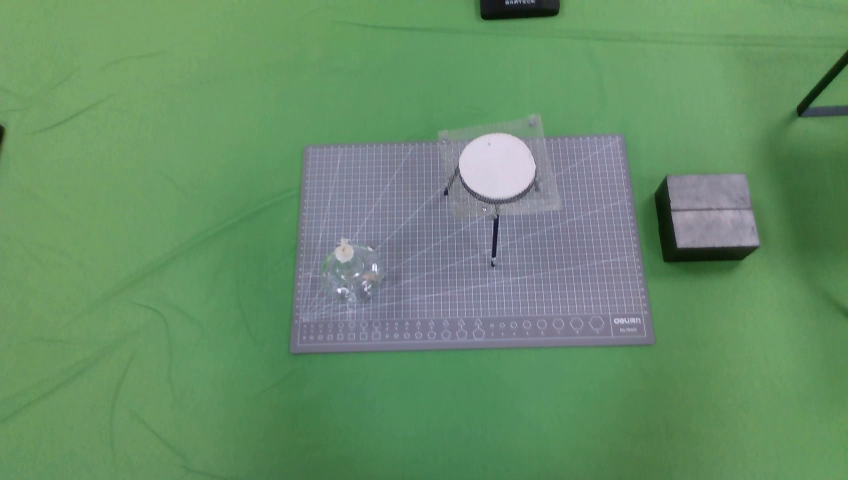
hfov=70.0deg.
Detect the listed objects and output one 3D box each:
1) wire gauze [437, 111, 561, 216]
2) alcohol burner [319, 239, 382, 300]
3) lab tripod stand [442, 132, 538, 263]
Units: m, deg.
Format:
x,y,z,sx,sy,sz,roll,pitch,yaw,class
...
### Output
x,y,z,sx,sy,sz,roll,pitch,yaw,class
0.083,-0.086,0.686,0.125,0.011,0.120,-7,69,-1,wire gauze
-0.091,0.029,0.730,0.078,0.120,0.077,0,67,1,alcohol burner
0.088,-0.064,0.749,0.148,0.132,0.147,-1,67,2,lab tripod stand
